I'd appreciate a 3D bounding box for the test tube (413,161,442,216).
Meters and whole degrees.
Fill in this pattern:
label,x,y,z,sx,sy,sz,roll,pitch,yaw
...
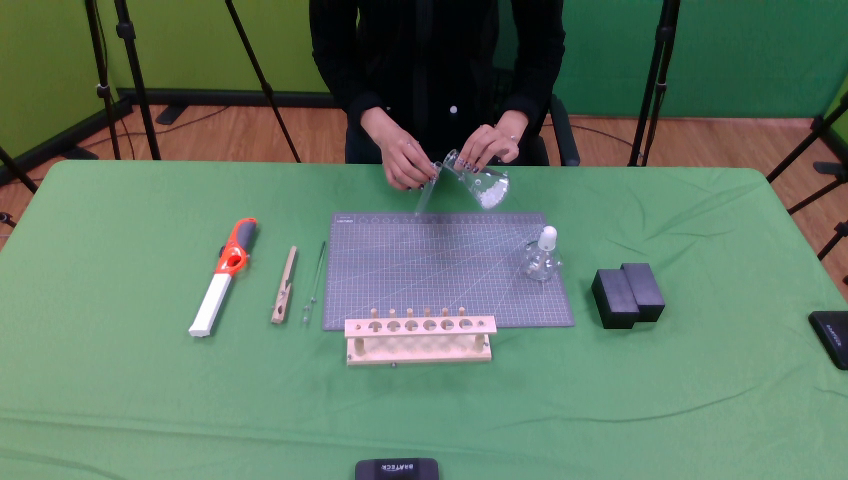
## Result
label,x,y,z,sx,sy,sz,roll,pitch,yaw
test tube,0.004,-0.094,1.150,0.017,0.151,0.017,10,51,-13

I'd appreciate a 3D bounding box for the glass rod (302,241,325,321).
label,x,y,z,sx,sy,sz,roll,pitch,yaw
glass rod,-0.204,0.071,1.124,0.008,0.008,0.198,4,44,1

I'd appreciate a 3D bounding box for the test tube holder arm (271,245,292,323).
label,x,y,z,sx,sy,sz,roll,pitch,yaw
test tube holder arm,-0.259,0.076,1.106,0.013,0.015,0.177,28,38,-28

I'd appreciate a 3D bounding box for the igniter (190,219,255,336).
label,x,y,z,sx,sy,sz,roll,pitch,yaw
igniter,-0.365,0.058,1.110,0.057,0.025,0.275,-1,45,8

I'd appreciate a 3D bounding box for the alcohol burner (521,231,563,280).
label,x,y,z,sx,sy,sz,roll,pitch,yaw
alcohol burner,0.224,0.020,1.131,0.078,0.119,0.077,4,46,-4

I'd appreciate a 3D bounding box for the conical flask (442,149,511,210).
label,x,y,z,sx,sy,sz,roll,pitch,yaw
conical flask,0.090,-0.115,1.091,0.122,0.075,0.075,34,45,-15

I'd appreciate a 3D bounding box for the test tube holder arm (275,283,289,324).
label,x,y,z,sx,sy,sz,roll,pitch,yaw
test tube holder arm,-0.254,0.110,1.077,0.010,0.015,0.087,29,38,-27

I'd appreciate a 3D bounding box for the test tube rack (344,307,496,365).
label,x,y,z,sx,sy,sz,roll,pitch,yaw
test tube rack,-0.009,0.154,1.007,0.242,0.085,0.066,-1,46,-5

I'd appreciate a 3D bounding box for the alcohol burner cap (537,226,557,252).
label,x,y,z,sx,sy,sz,roll,pitch,yaw
alcohol burner cap,0.226,-0.004,1.104,0.034,0.048,0.033,0,50,1
